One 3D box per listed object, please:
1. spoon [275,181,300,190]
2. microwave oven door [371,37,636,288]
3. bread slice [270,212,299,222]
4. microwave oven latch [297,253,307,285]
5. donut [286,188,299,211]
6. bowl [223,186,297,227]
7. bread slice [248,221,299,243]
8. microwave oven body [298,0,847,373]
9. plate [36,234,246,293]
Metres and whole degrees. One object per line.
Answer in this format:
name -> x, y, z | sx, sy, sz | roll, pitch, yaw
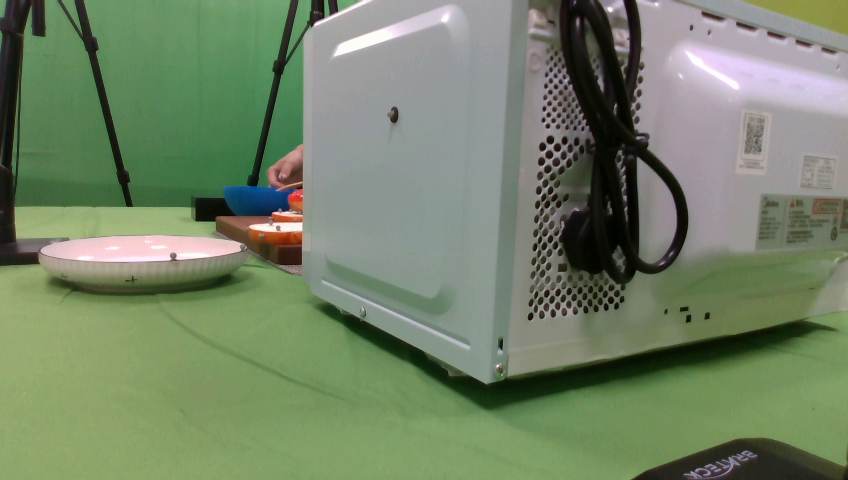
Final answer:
spoon -> -0.301, -0.101, 1.260 | 0.041, 0.021, 0.194 | 12, 29, 33
microwave oven door -> 0.109, -0.080, 0.686 | 0.358, 0.243, 0.039 | -2, 9, -33
bread slice -> -0.198, -0.038, 1.051 | 0.132, 0.019, 0.104 | 0, 6, -31
microwave oven latch -> -0.081, 0.027, 0.582 | 0.079, 0.029, 0.030 | -1, 7, -32
donut -> -0.190, -0.068, 1.055 | 0.099, 0.048, 0.099 | 4, 7, 0
bowl -> -0.330, -0.068, 1.230 | 0.151, 0.077, 0.151 | 2, 7, 0
bread slice -> -0.174, -0.012, 0.844 | 0.135, 0.018, 0.106 | -6, 11, -44
microwave oven body -> 0.151, -0.055, 0.542 | 0.444, 0.260, 0.324 | -2, 7, -33
plate -> -0.305, 0.026, 0.668 | 0.208, 0.039, 0.207 | 3, 7, 0
